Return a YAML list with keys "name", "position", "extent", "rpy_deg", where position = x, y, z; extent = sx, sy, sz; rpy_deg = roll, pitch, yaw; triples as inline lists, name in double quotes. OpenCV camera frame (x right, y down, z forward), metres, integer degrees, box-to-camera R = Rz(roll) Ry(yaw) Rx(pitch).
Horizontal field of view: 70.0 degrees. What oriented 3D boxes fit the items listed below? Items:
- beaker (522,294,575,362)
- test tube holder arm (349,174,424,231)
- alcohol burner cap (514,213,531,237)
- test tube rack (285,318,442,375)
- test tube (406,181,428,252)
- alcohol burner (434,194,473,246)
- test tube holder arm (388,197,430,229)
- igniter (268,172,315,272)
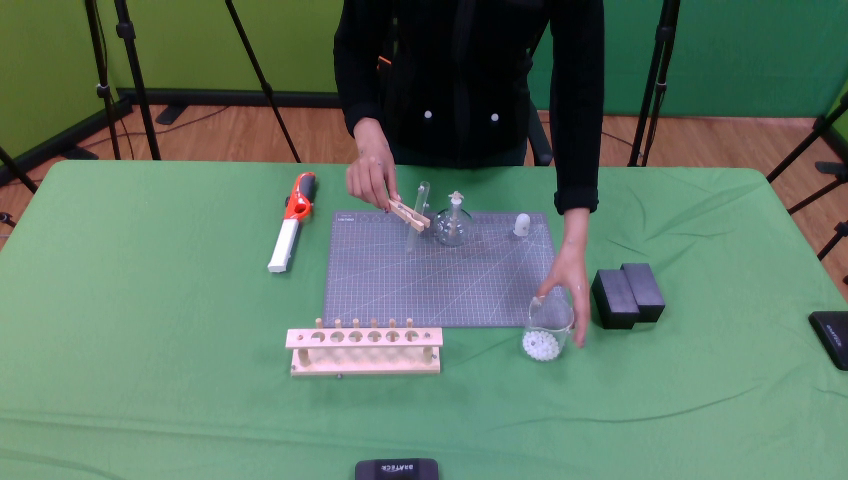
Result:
- name: "beaker"
  position: [0.203, 0.152, 1.013]
  extent: [0.084, 0.101, 0.073]
  rpy_deg: [-28, 53, -26]
- name: "test tube holder arm"
  position: [-0.065, -0.065, 1.019]
  extent: [0.177, 0.015, 0.013]
  rpy_deg: [35, 40, 28]
- name: "alcohol burner cap"
  position: [0.200, -0.033, 1.227]
  extent: [0.034, 0.048, 0.033]
  rpy_deg: [1, 45, 0]
- name: "test tube rack"
  position: [-0.095, 0.168, 0.986]
  extent: [0.242, 0.085, 0.066]
  rpy_deg: [0, 46, -4]
- name: "test tube"
  position: [-0.012, -0.035, 0.988]
  extent: [0.017, 0.151, 0.017]
  rpy_deg: [7, 44, -7]
- name: "alcohol burner"
  position: [0.059, -0.046, 1.180]
  extent: [0.078, 0.120, 0.077]
  rpy_deg: [1, 48, -1]
- name: "test tube holder arm"
  position: [-0.028, -0.046, 1.003]
  extent: [0.087, 0.015, 0.010]
  rpy_deg: [30, 39, 23]
- name: "igniter"
  position: [-0.263, -0.045, 1.219]
  extent: [0.057, 0.025, 0.275]
  rpy_deg: [-2, 45, 8]
